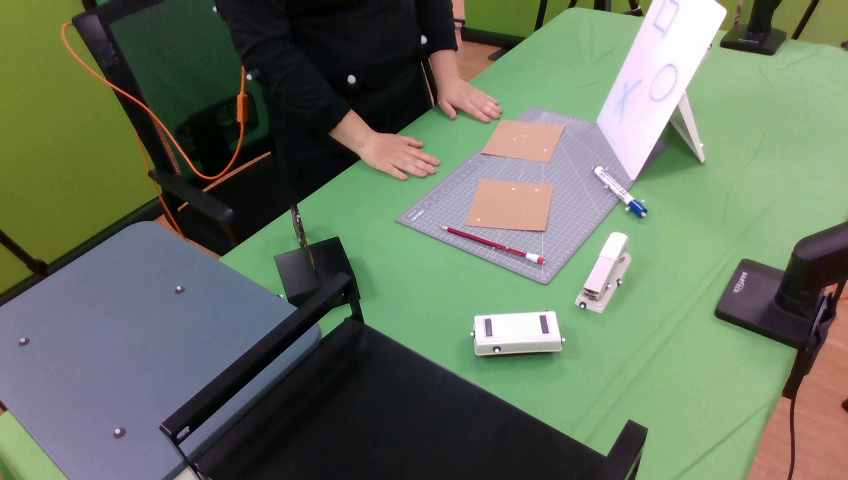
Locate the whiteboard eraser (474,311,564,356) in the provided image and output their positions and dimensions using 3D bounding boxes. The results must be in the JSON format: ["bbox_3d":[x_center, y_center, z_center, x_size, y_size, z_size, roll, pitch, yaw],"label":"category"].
[{"bbox_3d":[0.123,0.125,0.794,0.113,0.042,0.055,-5,38,3],"label":"whiteboard eraser"}]

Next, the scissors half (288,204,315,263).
[{"bbox_3d":[-0.191,-0.010,0.944,0.013,0.040,0.173,-16,38,-16],"label":"scissors half"}]

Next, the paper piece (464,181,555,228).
[{"bbox_3d":[0.149,-0.062,1.035,0.137,0.009,0.136,4,37,17],"label":"paper piece"}]

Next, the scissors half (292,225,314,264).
[{"bbox_3d":[-0.188,0.007,0.954,0.013,0.040,0.174,-21,22,-13],"label":"scissors half"}]

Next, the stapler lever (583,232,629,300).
[{"bbox_3d":[0.260,0.034,0.858,0.026,0.040,0.118,16,46,30],"label":"stapler lever"}]

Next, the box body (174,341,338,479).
[{"bbox_3d":[-0.311,0.165,0.720,0.361,0.161,0.255,23,49,32],"label":"box body"}]

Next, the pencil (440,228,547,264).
[{"bbox_3d":[0.105,0.007,0.958,0.192,0.012,0.012,18,46,30],"label":"pencil"}]

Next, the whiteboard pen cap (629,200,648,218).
[{"bbox_3d":[0.348,-0.052,0.984,0.018,0.018,0.033,-18,41,-12],"label":"whiteboard pen cap"}]

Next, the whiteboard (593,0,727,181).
[{"bbox_3d":[0.452,-0.272,1.056,0.144,0.305,0.216,9,38,-12],"label":"whiteboard"}]

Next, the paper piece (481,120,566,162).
[{"bbox_3d":[0.197,-0.198,1.188,0.135,0.004,0.135,11,44,21],"label":"paper piece"}]

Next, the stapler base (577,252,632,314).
[{"bbox_3d":[0.264,0.051,0.875,0.041,0.024,0.131,16,47,30],"label":"stapler base"}]

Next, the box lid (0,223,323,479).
[{"bbox_3d":[-0.318,0.109,0.671,0.368,0.015,0.264,24,50,31],"label":"box lid"}]

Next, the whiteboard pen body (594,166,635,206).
[{"bbox_3d":[0.330,-0.085,1.027,0.017,0.017,0.139,-17,41,-10],"label":"whiteboard pen body"}]
